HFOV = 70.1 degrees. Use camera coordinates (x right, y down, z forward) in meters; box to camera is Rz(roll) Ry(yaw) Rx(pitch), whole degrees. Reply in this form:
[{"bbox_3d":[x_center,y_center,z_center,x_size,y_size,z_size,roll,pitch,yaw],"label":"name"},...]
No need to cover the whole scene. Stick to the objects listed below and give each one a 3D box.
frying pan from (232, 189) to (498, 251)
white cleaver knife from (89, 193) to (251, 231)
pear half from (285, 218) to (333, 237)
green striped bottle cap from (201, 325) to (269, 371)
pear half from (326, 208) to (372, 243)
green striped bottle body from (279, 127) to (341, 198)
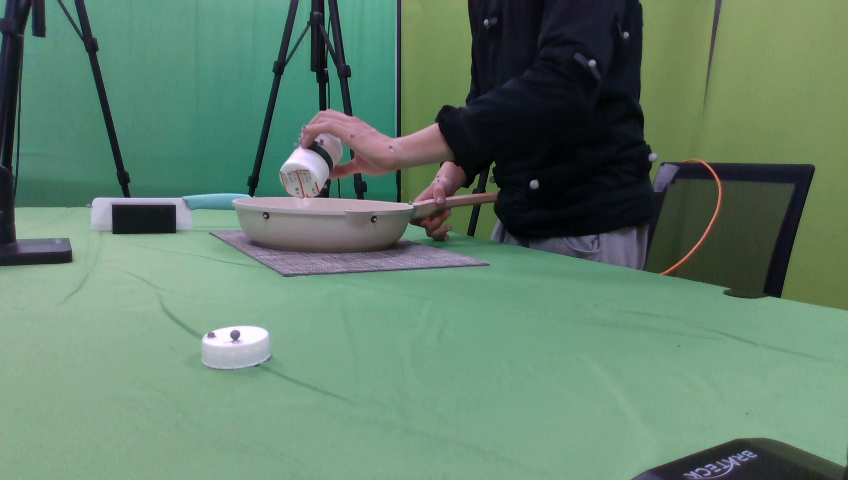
[{"bbox_3d":[-0.073,-0.051,1.048,0.490,0.102,0.305,-11,13,-27],"label":"frying pan"},{"bbox_3d":[-0.454,-0.052,1.115,0.288,0.066,0.021,-4,14,-27],"label":"white cleaver knife"},{"bbox_3d":[-0.197,-0.022,1.053,0.088,0.031,0.070,-9,18,-44],"label":"pear half"},{"bbox_3d":[-0.129,0.073,0.415,0.044,0.020,0.044,2,8,0],"label":"green striped bottle cap"},{"bbox_3d":[-0.127,-0.026,1.017,0.076,0.056,0.109,5,4,-18],"label":"pear half"},{"bbox_3d":[-0.164,-0.121,0.899,0.063,0.063,0.119,4,41,14],"label":"green striped bottle body"}]
